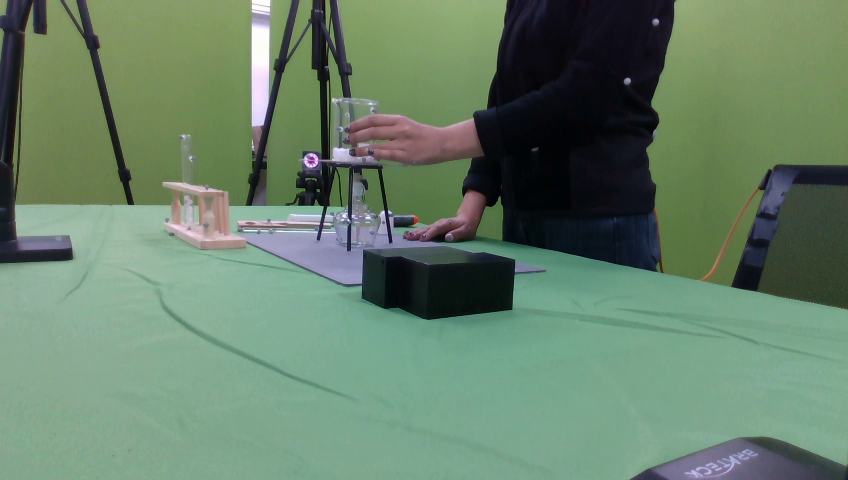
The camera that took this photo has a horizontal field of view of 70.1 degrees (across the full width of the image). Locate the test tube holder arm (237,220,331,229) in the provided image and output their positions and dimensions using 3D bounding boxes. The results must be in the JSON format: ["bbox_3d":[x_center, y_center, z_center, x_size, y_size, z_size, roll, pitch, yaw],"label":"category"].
[{"bbox_3d":[-0.260,-0.028,1.140,0.179,0.015,0.013,-1,41,-32],"label":"test tube holder arm"}]

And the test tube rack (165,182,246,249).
[{"bbox_3d":[-0.360,-0.044,0.983,0.067,0.085,0.241,-3,9,-34],"label":"test tube rack"}]

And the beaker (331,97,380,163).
[{"bbox_3d":[-0.111,-0.171,0.950,0.073,0.100,0.084,12,12,42],"label":"beaker"}]

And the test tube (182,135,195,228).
[{"bbox_3d":[-0.382,-0.095,0.983,0.017,0.150,0.017,-1,2,0],"label":"test tube"}]

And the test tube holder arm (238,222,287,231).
[{"bbox_3d":[-0.297,-0.024,1.113,0.088,0.015,0.010,-1,41,-32],"label":"test tube holder arm"}]

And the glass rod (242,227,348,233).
[{"bbox_3d":[-0.232,-0.017,1.110,0.201,0.008,0.008,1,6,-30],"label":"glass rod"}]

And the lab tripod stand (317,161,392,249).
[{"bbox_3d":[-0.111,-0.059,0.964,0.148,0.131,0.148,4,8,0],"label":"lab tripod stand"}]

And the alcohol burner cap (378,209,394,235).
[{"bbox_3d":[-0.072,-0.035,1.145,0.034,0.048,0.034,2,8,0],"label":"alcohol burner cap"}]

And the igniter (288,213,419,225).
[{"bbox_3d":[-0.145,-0.044,1.278,0.278,0.025,0.057,-1,-2,-21],"label":"igniter"}]

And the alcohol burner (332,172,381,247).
[{"bbox_3d":[-0.107,-0.048,0.961,0.078,0.119,0.078,1,9,0],"label":"alcohol burner"}]

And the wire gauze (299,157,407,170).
[{"bbox_3d":[-0.112,-0.124,0.959,0.121,0.011,0.126,13,11,40],"label":"wire gauze"}]
